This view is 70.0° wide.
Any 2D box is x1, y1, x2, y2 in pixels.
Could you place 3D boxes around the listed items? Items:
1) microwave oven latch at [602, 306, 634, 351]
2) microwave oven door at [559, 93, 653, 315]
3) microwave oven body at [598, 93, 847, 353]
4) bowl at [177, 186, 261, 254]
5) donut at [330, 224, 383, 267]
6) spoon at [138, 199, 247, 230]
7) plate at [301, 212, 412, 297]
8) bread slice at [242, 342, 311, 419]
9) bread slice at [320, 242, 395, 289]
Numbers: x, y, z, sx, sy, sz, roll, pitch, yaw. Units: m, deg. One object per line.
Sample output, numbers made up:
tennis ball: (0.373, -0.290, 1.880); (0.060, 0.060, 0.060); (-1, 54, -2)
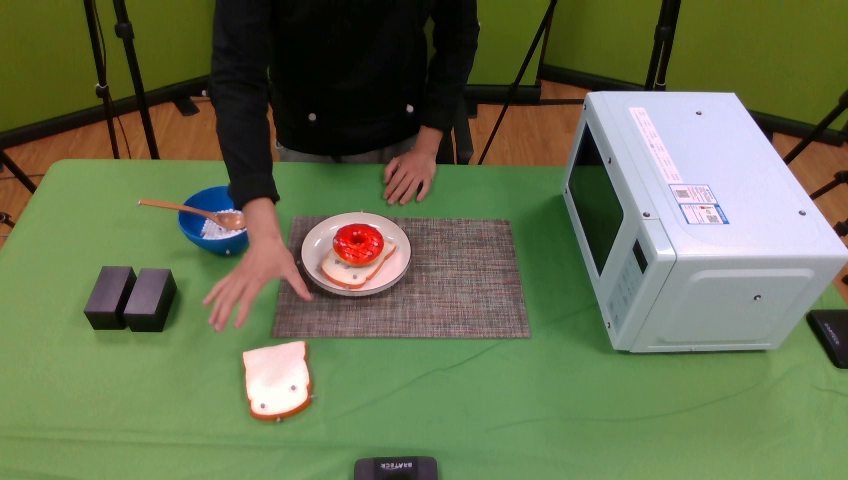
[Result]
microwave oven latch: (0.332, 0.153, 1.044); (0.030, 0.029, 0.078); (0, 45, -4)
microwave oven door: (0.327, -0.074, 1.123); (0.039, 0.245, 0.353); (-1, 46, -5)
microwave oven body: (0.475, -0.041, 1.109); (0.326, 0.261, 0.438); (-1, 45, -4)
bowl: (-0.383, -0.026, 1.158); (0.151, 0.077, 0.150); (2, 46, -2)
donut: (-0.125, 0.010, 1.127); (0.099, 0.048, 0.098); (3, 45, -3)
spoon: (-0.431, -0.053, 1.136); (0.194, 0.022, 0.041); (15, 50, -20)
plate: (-0.126, 0.031, 1.146); (0.208, 0.039, 0.206); (2, 46, -2)
bread slice: (-0.234, 0.223, 0.970); (0.105, 0.019, 0.130); (-10, 46, -12)
bread slice: (-0.129, 0.039, 1.142); (0.107, 0.018, 0.134); (19, 44, 14)
